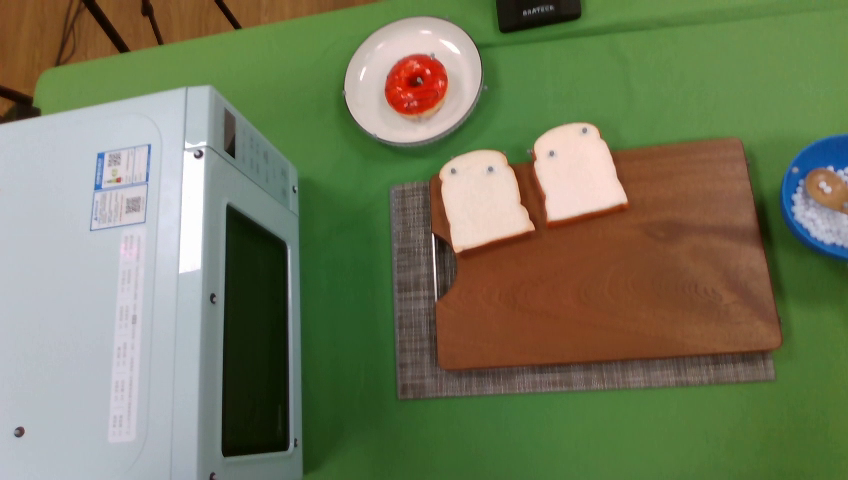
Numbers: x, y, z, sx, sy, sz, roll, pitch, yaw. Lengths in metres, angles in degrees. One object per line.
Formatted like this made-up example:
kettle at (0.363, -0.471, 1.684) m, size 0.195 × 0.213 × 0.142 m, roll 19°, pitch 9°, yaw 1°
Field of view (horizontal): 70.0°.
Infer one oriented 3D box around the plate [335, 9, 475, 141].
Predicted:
plate at (-0.027, -0.237, 0.886) m, size 0.207 × 0.039 × 0.206 m, roll -3°, pitch 74°, yaw 11°

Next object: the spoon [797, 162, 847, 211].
spoon at (0.487, -0.019, 0.663) m, size 0.041 × 0.022 × 0.191 m, roll -26°, pitch 51°, yaw -2°

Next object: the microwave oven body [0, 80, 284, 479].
microwave oven body at (-0.356, 0.083, 0.743) m, size 0.325 × 0.262 × 0.439 m, roll -8°, pitch 74°, yaw 9°

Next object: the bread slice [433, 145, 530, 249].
bread slice at (0.066, -0.060, 0.796) m, size 0.107 × 0.018 × 0.133 m, roll -19°, pitch 71°, yaw 5°

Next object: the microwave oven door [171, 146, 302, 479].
microwave oven door at (-0.210, 0.100, 0.703) m, size 0.039 × 0.245 × 0.353 m, roll -9°, pitch 73°, yaw 10°

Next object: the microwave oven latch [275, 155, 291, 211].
microwave oven latch at (-0.207, -0.080, 0.860) m, size 0.030 × 0.030 × 0.078 m, roll -7°, pitch 74°, yaw 9°

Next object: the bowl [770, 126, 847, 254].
bowl at (0.477, -0.048, 0.706) m, size 0.151 × 0.077 × 0.150 m, roll -3°, pitch 74°, yaw 11°

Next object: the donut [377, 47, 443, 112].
donut at (-0.021, -0.230, 0.870) m, size 0.099 × 0.048 × 0.098 m, roll -4°, pitch 74°, yaw 14°

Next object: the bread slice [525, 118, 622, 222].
bread slice at (0.185, -0.095, 0.782) m, size 0.105 × 0.019 × 0.130 m, roll -15°, pitch 72°, yaw 6°
